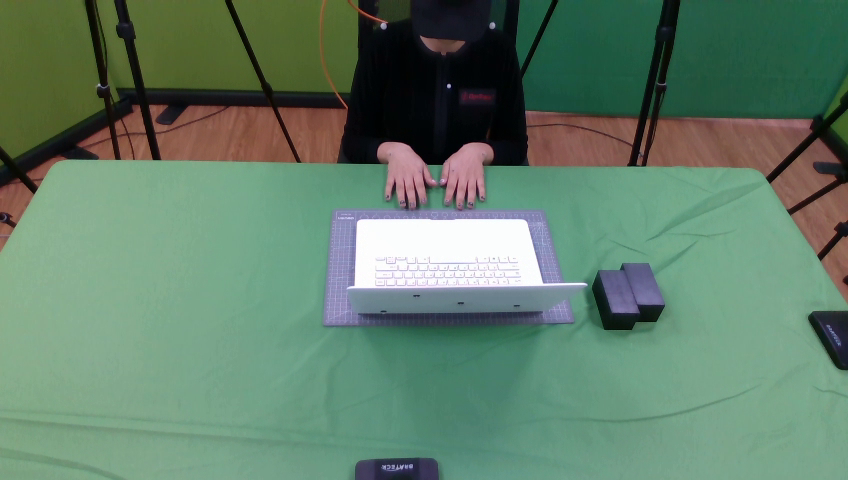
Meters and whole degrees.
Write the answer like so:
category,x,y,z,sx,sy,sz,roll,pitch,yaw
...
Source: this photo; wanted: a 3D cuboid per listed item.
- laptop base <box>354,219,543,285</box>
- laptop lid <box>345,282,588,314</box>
category,x,y,z,sx,sy,sz,roll,pitch,yaw
laptop base,0.043,0.044,1.162,0.355,0.023,0.234,0,43,-5
laptop lid,0.057,0.096,0.969,0.357,0.242,0.013,0,74,-6
